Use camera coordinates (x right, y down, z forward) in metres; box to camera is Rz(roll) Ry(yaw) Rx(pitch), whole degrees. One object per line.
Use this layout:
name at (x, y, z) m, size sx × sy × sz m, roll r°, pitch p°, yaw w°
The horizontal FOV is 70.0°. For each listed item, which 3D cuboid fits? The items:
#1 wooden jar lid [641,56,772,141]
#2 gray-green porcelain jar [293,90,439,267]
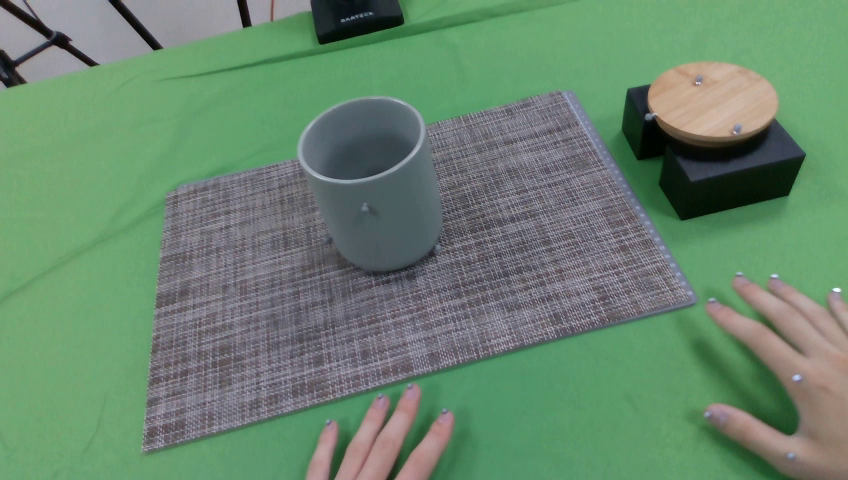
wooden jar lid at (0.252, -0.127, 0.546) m, size 0.108 × 0.021 × 0.107 m, roll -5°, pitch 52°, yaw 7°
gray-green porcelain jar at (-0.044, -0.047, 0.527) m, size 0.106 × 0.128 × 0.105 m, roll -5°, pitch 50°, yaw 7°
